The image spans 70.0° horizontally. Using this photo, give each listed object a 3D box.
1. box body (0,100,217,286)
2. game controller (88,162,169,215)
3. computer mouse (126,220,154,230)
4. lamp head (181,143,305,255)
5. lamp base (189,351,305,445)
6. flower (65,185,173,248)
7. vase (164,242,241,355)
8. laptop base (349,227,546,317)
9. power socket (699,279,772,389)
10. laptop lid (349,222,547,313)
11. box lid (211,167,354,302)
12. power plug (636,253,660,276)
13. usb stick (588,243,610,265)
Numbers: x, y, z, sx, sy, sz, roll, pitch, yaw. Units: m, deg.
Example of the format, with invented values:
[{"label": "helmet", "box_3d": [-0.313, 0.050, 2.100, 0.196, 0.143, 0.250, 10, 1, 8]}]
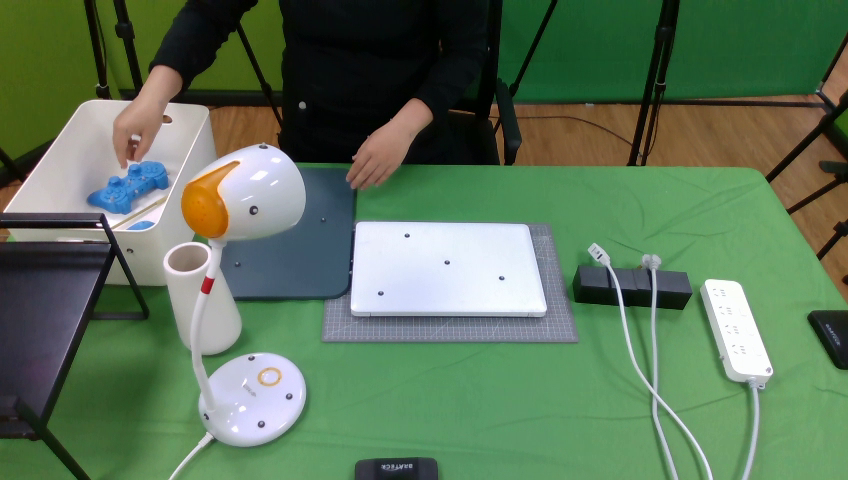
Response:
[{"label": "box body", "box_3d": [-0.560, -0.092, 1.145, 0.254, 0.161, 0.361, 3, 46, -2]}, {"label": "game controller", "box_3d": [-0.597, -0.113, 1.234, 0.097, 0.052, 0.155, 29, 51, 20]}, {"label": "computer mouse", "box_3d": [-0.537, 0.008, 1.127, 0.062, 0.041, 0.117, 32, 56, 20]}, {"label": "lamp head", "box_3d": [-0.216, -0.044, 0.697, 0.112, 0.113, 0.123, 23, 31, 17]}, {"label": "lamp base", "box_3d": [-0.268, 0.196, 0.876, 0.160, 0.181, 0.179, 26, 52, 20]}, {"label": "flower", "box_3d": [-0.566, -0.058, 1.199, 0.044, 0.038, 0.361, 43, 52, -2]}, {"label": "vase", "box_3d": [-0.349, 0.096, 0.954, 0.098, 0.201, 0.097, 3, 47, -3]}, {"label": "laptop base", "box_3d": [0.040, 0.055, 1.149, 0.355, 0.023, 0.234, 1, 42, -4]}, {"label": "power socket", "box_3d": [0.551, 0.157, 1.081, 0.072, 0.033, 0.225, 5, 46, 1]}, {"label": "laptop lid", "box_3d": [0.041, 0.045, 1.143, 0.357, 0.013, 0.240, 2, 44, -3]}, {"label": "box lid", "box_3d": [-0.277, -0.024, 1.205, 0.263, 0.015, 0.369, 0, 46, -4]}, {"label": "power plug", "box_3d": [0.415, 0.050, 1.139, 0.035, 0.053, 0.072, 46, 49, 10]}, {"label": "usb stick", "box_3d": [0.336, 0.024, 1.172, 0.027, 0.021, 0.059, 33, 17, -12]}]
